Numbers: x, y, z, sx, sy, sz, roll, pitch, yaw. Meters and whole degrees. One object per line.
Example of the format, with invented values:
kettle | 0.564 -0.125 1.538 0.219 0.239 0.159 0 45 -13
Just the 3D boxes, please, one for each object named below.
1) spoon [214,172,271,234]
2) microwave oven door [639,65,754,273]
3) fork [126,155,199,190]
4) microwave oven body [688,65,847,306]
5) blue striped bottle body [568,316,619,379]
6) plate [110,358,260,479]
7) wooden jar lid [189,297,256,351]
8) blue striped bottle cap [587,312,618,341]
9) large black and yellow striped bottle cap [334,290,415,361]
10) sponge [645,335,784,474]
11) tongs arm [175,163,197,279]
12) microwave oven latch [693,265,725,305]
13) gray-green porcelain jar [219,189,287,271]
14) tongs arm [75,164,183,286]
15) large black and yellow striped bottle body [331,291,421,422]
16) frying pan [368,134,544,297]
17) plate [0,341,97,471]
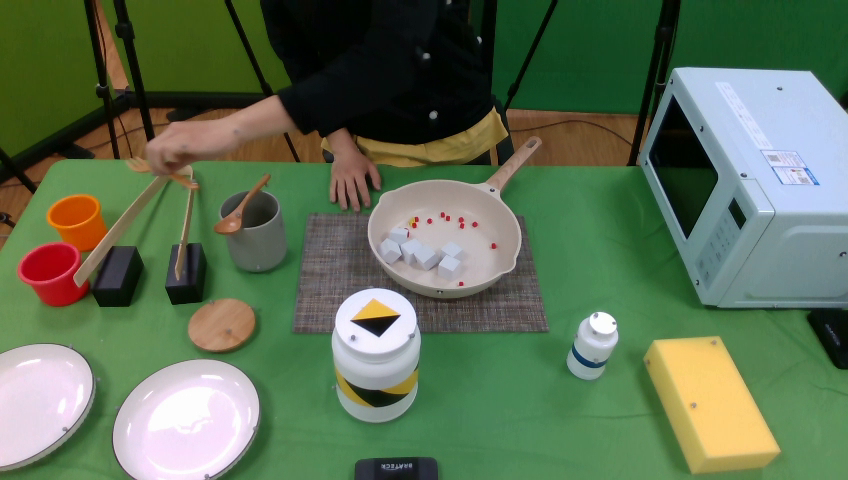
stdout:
spoon | -0.312 -0.069 1.068 0.041 0.022 0.193 9 43 10
microwave oven door | 0.522 -0.147 1.193 0.039 0.245 0.353 0 47 -3
fork | -0.405 -0.104 0.935 0.206 0.019 0.028 18 35 39
microwave oven body | 0.669 -0.111 1.176 0.326 0.261 0.439 0 46 -3
blue striped bottle body | 0.276 0.169 0.984 0.063 0.121 0.062 2 46 -2
plate | -0.349 0.273 0.899 0.208 0.039 0.206 2 46 -2
wooden jar lid | -0.342 0.145 1.033 0.108 0.021 0.107 2 45 -2
blue striped bottle cap | 0.279 0.134 0.947 0.044 0.021 0.044 2 45 -2
large black and yellow striped bottle cap | -0.069 0.117 0.850 0.115 0.019 0.114 2 45 -2
sponge | 0.449 0.253 0.956 0.118 0.061 0.205 -4 46 -7
tongs arm | -0.462 -0.049 1.149 0.051 0.026 0.382 -8 36 -7
microwave oven latch | 0.523 0.081 1.116 0.030 0.029 0.078 2 46 -1
gray-green porcelain jar | -0.309 -0.014 1.113 0.106 0.127 0.105 2 46 -2
tongs arm | -0.547 -0.043 1.143 0.028 0.028 0.385 -3 34 7
large black and yellow striped bottle body | -0.071 0.175 0.912 0.131 0.185 0.130 2 47 -2
frying pan | 0.104 -0.069 1.205 0.305 0.103 0.487 32 61 23
plate | -0.599 0.247 0.904 0.209 0.038 0.208 2 47 -2
